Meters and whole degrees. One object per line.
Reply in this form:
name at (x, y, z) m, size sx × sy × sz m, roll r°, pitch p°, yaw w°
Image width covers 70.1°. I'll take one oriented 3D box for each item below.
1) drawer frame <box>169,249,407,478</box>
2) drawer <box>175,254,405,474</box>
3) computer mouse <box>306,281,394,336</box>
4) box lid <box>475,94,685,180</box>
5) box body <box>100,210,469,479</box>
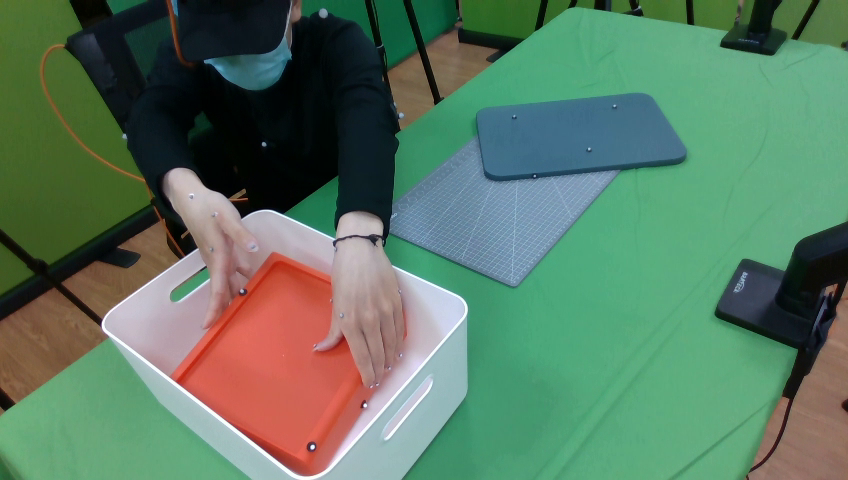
drawer frame at (-0.157, 0.141, 0.731) m, size 0.201 × 0.083 × 0.213 m, roll 21°, pitch 57°, yaw 16°
drawer at (-0.160, 0.143, 0.743) m, size 0.193 × 0.073 × 0.212 m, roll 22°, pitch 63°, yaw 23°
computer mouse at (-0.097, 0.088, 0.788) m, size 0.117 × 0.041 × 0.062 m, roll -10°, pitch 43°, yaw 6°
box lid at (0.288, -0.207, 1.181) m, size 0.371 × 0.015 × 0.262 m, roll -5°, pitch 40°, yaw 2°
box body at (-0.152, 0.140, 0.721) m, size 0.361 × 0.161 × 0.255 m, roll 22°, pitch 49°, yaw 30°
